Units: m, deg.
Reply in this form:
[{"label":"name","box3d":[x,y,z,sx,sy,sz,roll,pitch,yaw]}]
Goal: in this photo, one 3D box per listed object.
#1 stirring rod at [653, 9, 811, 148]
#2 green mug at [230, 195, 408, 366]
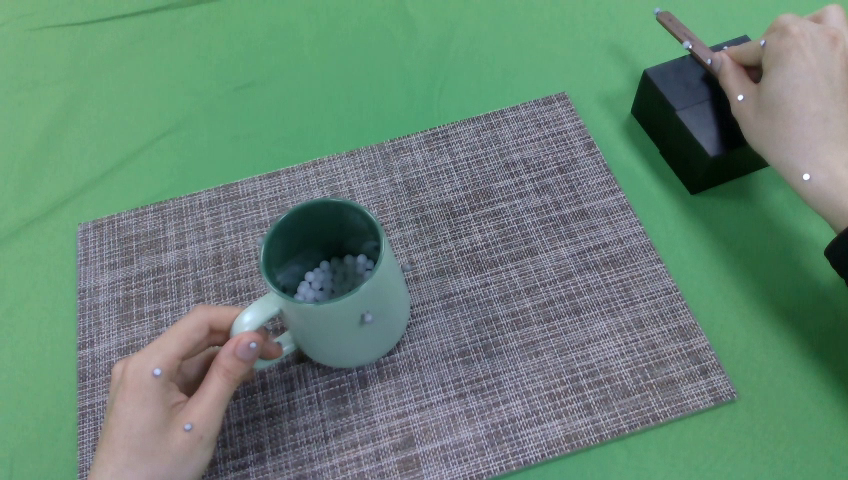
[{"label":"stirring rod","box3d":[0.245,-0.136,0.493,0.014,0.006,0.174,-25,60,-9]},{"label":"green mug","box3d":[-0.073,0.040,0.414,0.125,0.106,0.091,-37,64,-16]}]
